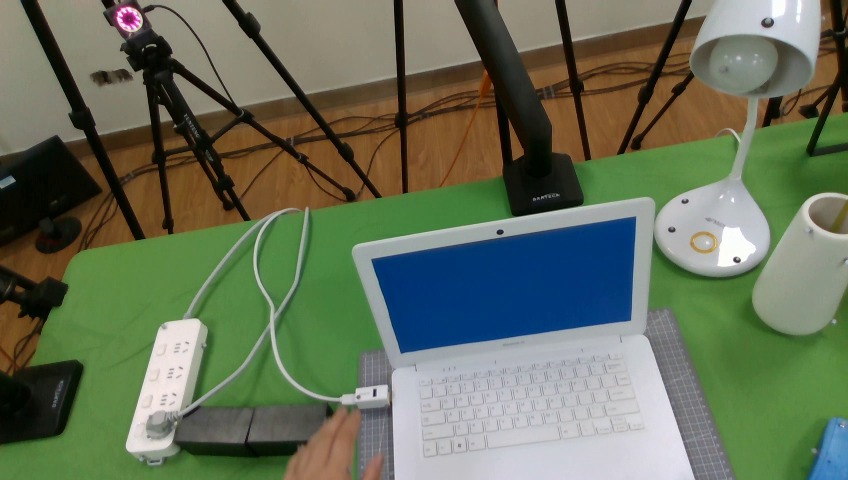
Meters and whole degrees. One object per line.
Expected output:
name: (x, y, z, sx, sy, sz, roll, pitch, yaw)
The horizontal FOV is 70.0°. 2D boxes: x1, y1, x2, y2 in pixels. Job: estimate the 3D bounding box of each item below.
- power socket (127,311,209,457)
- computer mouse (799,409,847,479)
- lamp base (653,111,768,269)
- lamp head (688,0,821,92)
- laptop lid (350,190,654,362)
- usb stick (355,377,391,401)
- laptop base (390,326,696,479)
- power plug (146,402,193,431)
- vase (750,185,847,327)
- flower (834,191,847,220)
power socket: (-0.373, 0.202, 0.893, 0.072, 0.033, 0.224, -7, 51, 6)
computer mouse: (0.471, 0.242, 0.677, 0.062, 0.041, 0.117, 26, 57, 32)
lamp base: (0.419, -0.080, 0.851, 0.159, 0.182, 0.178, 19, 56, 25)
lamp head: (0.332, -0.222, 0.594, 0.112, 0.113, 0.122, 16, 75, 23)
laptop lid: (0.104, 0.058, 0.762, 0.356, 0.244, 0.013, -11, 40, 6)
usb stick: (-0.063, 0.202, 0.820, 0.059, 0.027, 0.021, -5, 49, 3)
laptop base: (0.134, 0.237, 0.766, 0.354, 0.023, 0.233, -9, 54, 5)
power plug: (-0.345, 0.244, 0.829, 0.072, 0.053, 0.035, 2, 53, 11)
vase: (0.471, 0.023, 0.746, 0.098, 0.202, 0.097, -7, 50, 9)
flower: (0.472, -0.036, 0.686, 0.038, 0.364, 0.043, -9, 39, -17)
